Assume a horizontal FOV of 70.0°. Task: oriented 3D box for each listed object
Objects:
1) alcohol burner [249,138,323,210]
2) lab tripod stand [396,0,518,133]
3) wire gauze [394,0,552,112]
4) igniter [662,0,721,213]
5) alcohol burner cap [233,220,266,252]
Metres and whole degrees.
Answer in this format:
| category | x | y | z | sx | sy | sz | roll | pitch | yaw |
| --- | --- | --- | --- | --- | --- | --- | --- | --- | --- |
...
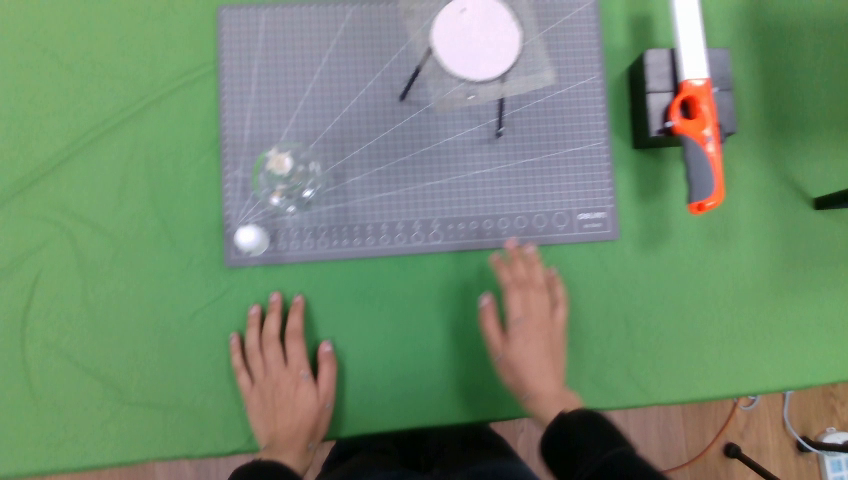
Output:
| category | x | y | z | sx | sy | sz | roll | pitch | yaw |
| --- | --- | --- | --- | --- | --- | --- | --- | --- | --- |
| alcohol burner | -0.145 | -0.071 | 0.627 | 0.078 | 0.119 | 0.077 | 1 | 85 | -6 |
| lab tripod stand | 0.042 | -0.191 | 0.645 | 0.148 | 0.131 | 0.148 | 0 | 82 | -3 |
| wire gauze | 0.047 | -0.192 | 0.579 | 0.125 | 0.011 | 0.121 | -17 | 85 | -6 |
| igniter | 0.294 | -0.166 | 0.673 | 0.057 | 0.025 | 0.275 | -3 | 82 | -3 |
| alcohol burner cap | -0.190 | -0.006 | 0.653 | 0.034 | 0.048 | 0.034 | 1 | 83 | -5 |
